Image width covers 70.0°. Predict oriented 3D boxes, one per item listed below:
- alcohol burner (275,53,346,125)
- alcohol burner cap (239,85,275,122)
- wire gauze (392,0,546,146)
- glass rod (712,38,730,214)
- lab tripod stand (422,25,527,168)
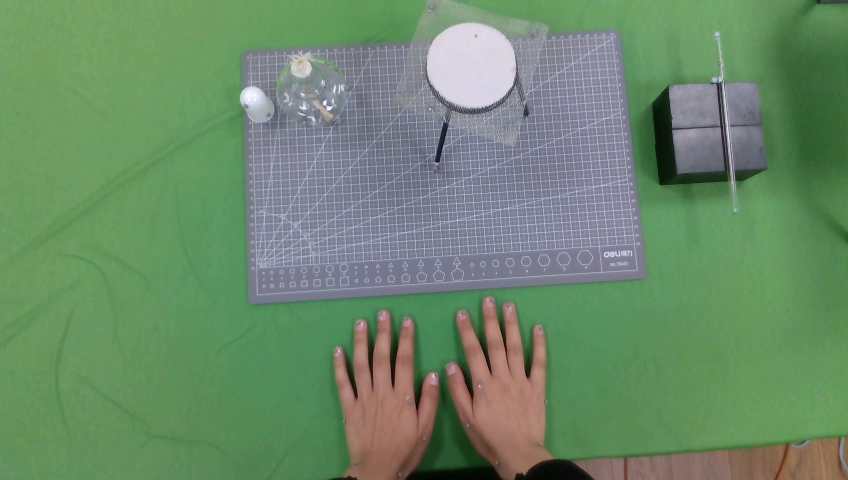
[{"bbox_3d":[-0.125,-0.170,0.655,0.078,0.119,0.077,0,81,-2],"label":"alcohol burner"},{"bbox_3d":[-0.192,-0.157,0.688,0.034,0.048,0.033,0,81,3],"label":"alcohol burner cap"},{"bbox_3d":[0.044,-0.165,0.579,0.125,0.011,0.121,18,82,1],"label":"wire gauze"},{"bbox_3d":[0.325,-0.126,0.662,0.008,0.008,0.199,0,82,0],"label":"glass rod"},{"bbox_3d":[0.047,-0.157,0.646,0.148,0.132,0.148,0,80,-1],"label":"lab tripod stand"}]
